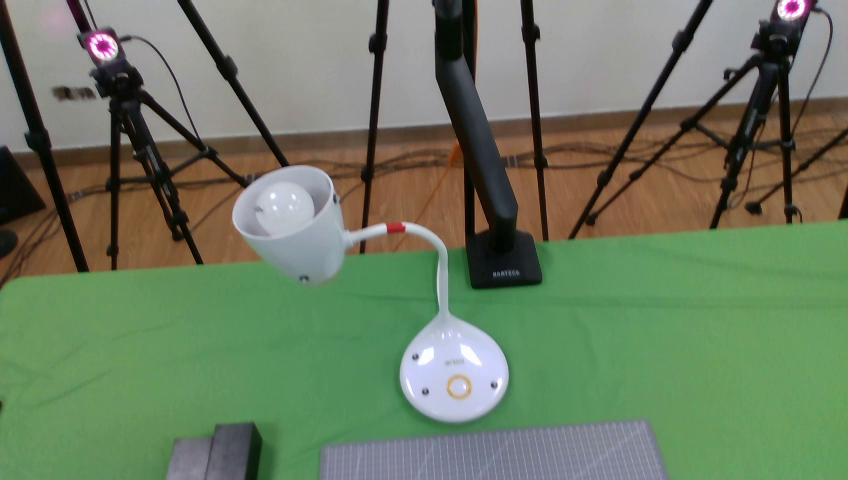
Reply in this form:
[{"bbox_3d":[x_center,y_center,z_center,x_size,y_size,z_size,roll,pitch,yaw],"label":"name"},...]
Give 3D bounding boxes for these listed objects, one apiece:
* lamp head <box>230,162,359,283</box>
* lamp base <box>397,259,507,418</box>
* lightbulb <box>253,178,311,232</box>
[{"bbox_3d":[-0.137,-0.011,0.681,0.112,0.124,0.111,-12,48,13],"label":"lamp head"},{"bbox_3d":[0.033,0.126,0.841,0.161,0.182,0.177,-14,45,-10],"label":"lamp base"},{"bbox_3d":[-0.146,-0.022,0.660,0.059,0.109,0.059,-6,52,8],"label":"lightbulb"}]
